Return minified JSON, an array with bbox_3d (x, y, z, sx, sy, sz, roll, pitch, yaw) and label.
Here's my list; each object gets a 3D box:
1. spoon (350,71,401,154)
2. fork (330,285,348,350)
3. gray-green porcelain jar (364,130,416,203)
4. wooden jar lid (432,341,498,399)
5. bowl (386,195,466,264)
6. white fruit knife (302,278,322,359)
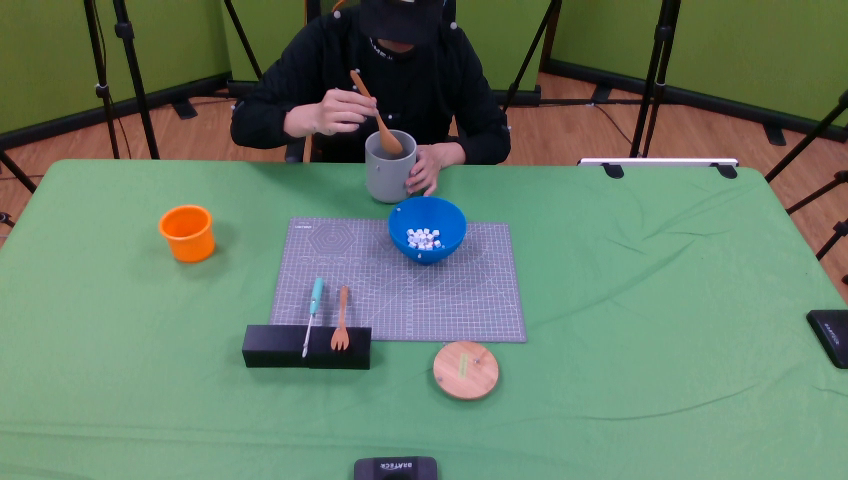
[{"bbox_3d":[-0.092,-0.233,1.132,0.041,0.195,0.021,-4,43,27],"label":"spoon"},{"bbox_3d":[-0.140,0.127,1.021,0.028,0.019,0.206,-5,28,-2],"label":"fork"},{"bbox_3d":[-0.072,-0.149,1.264,0.106,0.127,0.105,3,46,-3],"label":"gray-green porcelain jar"},{"bbox_3d":[0.067,0.216,0.997,0.108,0.021,0.107,1,46,-1],"label":"wooden jar lid"},{"bbox_3d":[0.002,-0.007,1.162,0.151,0.077,0.150,2,46,-2],"label":"bowl"},{"bbox_3d":[-0.189,0.126,1.020,0.016,0.027,0.206,0,33,-2],"label":"white fruit knife"}]
